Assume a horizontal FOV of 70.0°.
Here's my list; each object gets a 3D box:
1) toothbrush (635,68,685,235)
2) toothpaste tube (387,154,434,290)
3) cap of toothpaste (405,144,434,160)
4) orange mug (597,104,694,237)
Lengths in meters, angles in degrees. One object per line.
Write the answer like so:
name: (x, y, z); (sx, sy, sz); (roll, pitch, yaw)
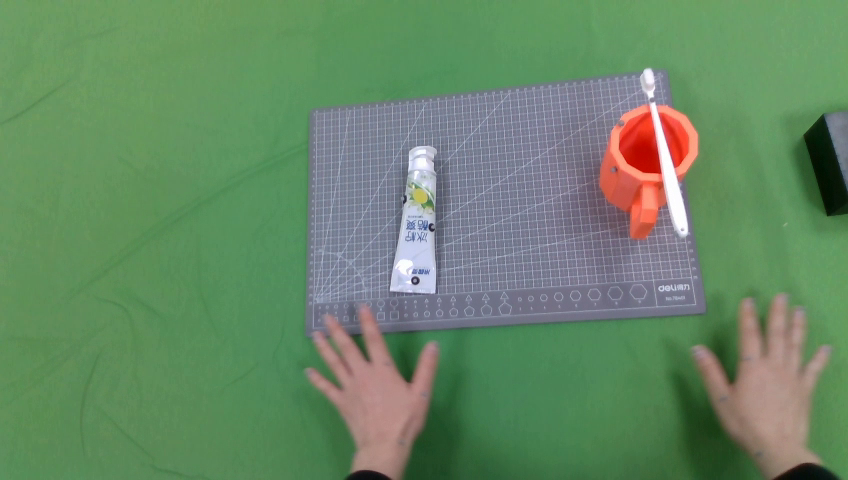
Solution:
toothbrush: (0.236, -0.092, 0.606); (0.014, 0.017, 0.180); (-7, 73, 3)
toothpaste tube: (-0.012, -0.024, 0.717); (0.055, 0.035, 0.164); (0, 78, 14)
cap of toothpaste: (-0.005, -0.104, 0.733); (0.037, 0.037, 0.011); (-10, 70, 6)
orange mug: (0.235, -0.071, 0.655); (0.083, 0.101, 0.125); (4, 70, 10)
